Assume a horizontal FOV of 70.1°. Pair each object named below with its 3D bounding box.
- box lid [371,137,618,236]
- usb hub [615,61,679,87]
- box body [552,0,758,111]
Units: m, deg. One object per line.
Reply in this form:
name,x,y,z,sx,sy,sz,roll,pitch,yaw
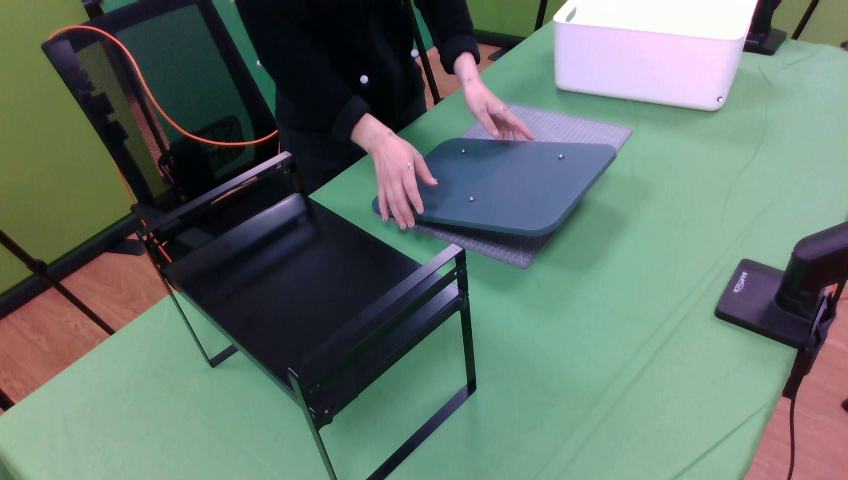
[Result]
box lid,0.109,-0.104,1.028,0.368,0.015,0.264,11,41,39
usb hub,0.483,-0.361,1.312,0.124,0.025,0.049,19,49,29
box body,0.480,-0.417,1.282,0.362,0.161,0.254,16,46,25
